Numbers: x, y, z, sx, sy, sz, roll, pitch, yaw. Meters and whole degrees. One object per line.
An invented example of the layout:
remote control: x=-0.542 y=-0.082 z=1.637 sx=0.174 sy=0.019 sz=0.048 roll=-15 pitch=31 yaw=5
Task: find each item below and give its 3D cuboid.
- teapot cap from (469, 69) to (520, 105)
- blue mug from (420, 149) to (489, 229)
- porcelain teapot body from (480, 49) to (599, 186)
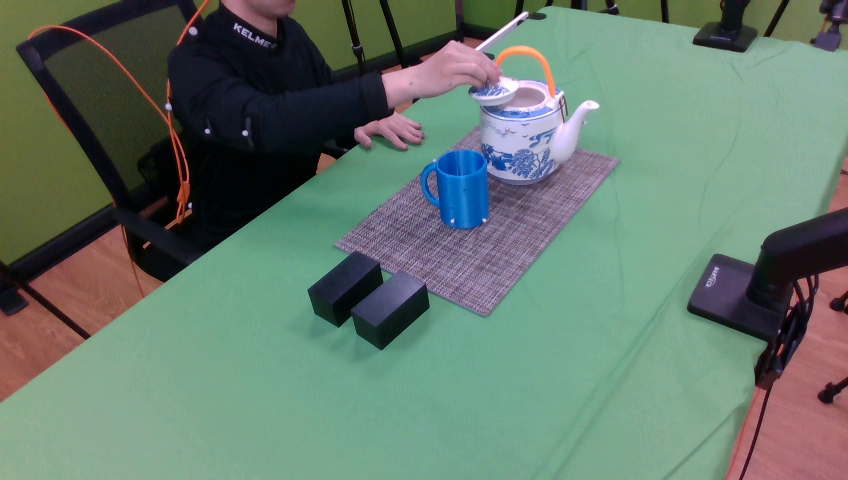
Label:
teapot cap: x=0.113 y=-0.250 z=0.973 sx=0.085 sy=0.044 sz=0.085 roll=-8 pitch=36 yaw=6
blue mug: x=0.048 y=-0.085 z=0.991 sx=0.116 sy=0.106 sz=0.082 roll=9 pitch=43 yaw=19
porcelain teapot body: x=0.193 y=-0.208 z=1.023 sx=0.204 sy=0.226 sz=0.145 roll=17 pitch=46 yaw=25
